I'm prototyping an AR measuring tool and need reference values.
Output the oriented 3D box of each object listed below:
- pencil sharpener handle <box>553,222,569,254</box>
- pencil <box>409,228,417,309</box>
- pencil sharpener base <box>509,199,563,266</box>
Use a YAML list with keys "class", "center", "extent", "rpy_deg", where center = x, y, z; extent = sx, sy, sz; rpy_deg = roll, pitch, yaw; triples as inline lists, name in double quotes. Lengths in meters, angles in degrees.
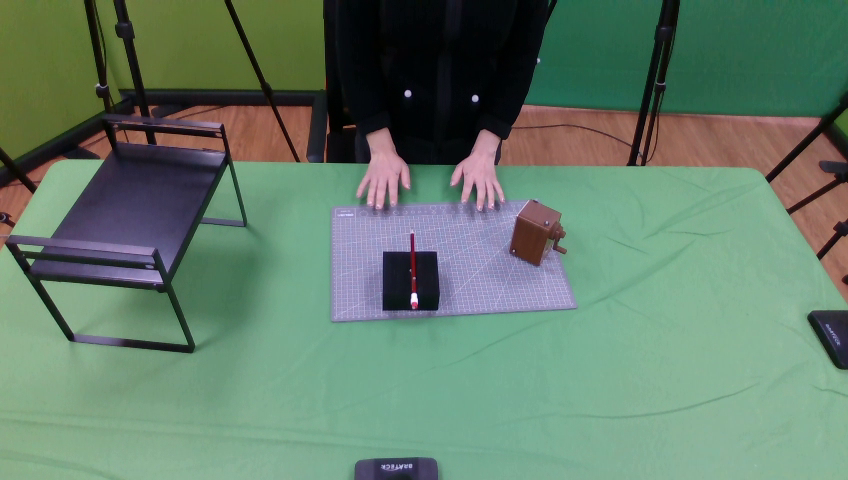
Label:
- class: "pencil sharpener handle"
  center: [0.260, -0.001, 1.135]
  extent: [0.030, 0.068, 0.036]
  rpy_deg: [27, 58, 20]
- class: "pencil"
  center: [-0.021, 0.046, 1.087]
  extent: [0.012, 0.012, 0.193]
  rpy_deg: [0, 46, -4]
- class: "pencil sharpener base"
  center: [0.216, -0.012, 1.160]
  extent: [0.076, 0.107, 0.061]
  rpy_deg: [27, 50, 20]
